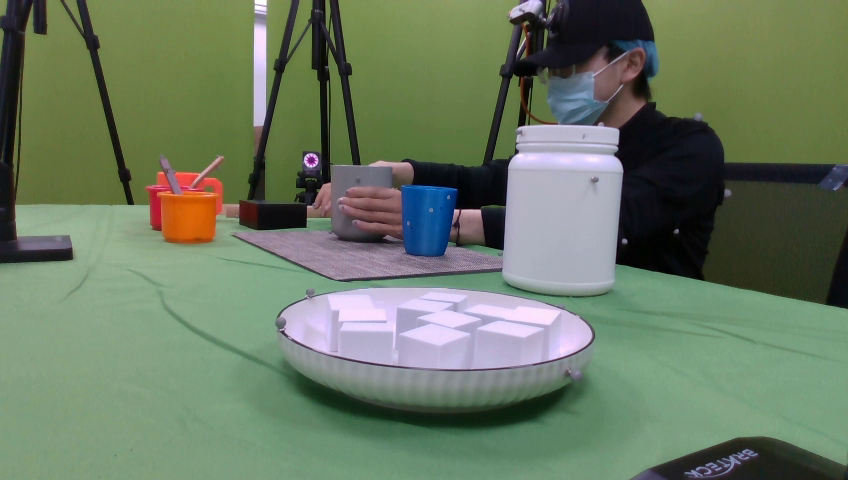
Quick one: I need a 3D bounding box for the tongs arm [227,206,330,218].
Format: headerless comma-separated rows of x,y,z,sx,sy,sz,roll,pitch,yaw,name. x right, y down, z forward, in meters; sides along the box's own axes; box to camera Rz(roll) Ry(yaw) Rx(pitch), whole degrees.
-0.251,-0.063,1.360,0.387,0.026,0.050,-1,2,-31,tongs arm

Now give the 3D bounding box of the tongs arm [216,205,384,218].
-0.288,-0.068,1.435,0.389,0.027,0.028,0,-2,-17,tongs arm

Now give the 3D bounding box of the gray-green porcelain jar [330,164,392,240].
-0.108,-0.066,1.041,0.106,0.126,0.106,1,7,0,gray-green porcelain jar

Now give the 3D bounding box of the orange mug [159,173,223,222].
-0.477,-0.089,1.241,0.127,0.101,0.083,-8,12,-33,orange mug

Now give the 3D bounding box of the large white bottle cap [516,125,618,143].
0.164,-0.120,0.695,0.115,0.018,0.115,2,7,0,large white bottle cap

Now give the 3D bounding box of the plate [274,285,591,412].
0.005,0.069,0.408,0.208,0.039,0.207,2,7,0,plate

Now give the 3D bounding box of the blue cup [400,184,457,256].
0.003,-0.030,0.901,0.093,0.100,0.092,4,8,0,blue cup

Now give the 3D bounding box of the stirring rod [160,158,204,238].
-0.391,-0.070,0.972,0.014,0.006,0.175,0,49,-50,stirring rod

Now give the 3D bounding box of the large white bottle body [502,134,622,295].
0.161,-0.037,0.706,0.131,0.184,0.130,2,7,0,large white bottle body

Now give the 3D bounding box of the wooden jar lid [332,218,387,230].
-0.128,-0.032,1.204,0.108,0.020,0.108,0,6,0,wooden jar lid

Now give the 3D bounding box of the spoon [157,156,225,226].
-0.425,-0.094,1.117,0.041,0.022,0.194,4,51,30,spoon
